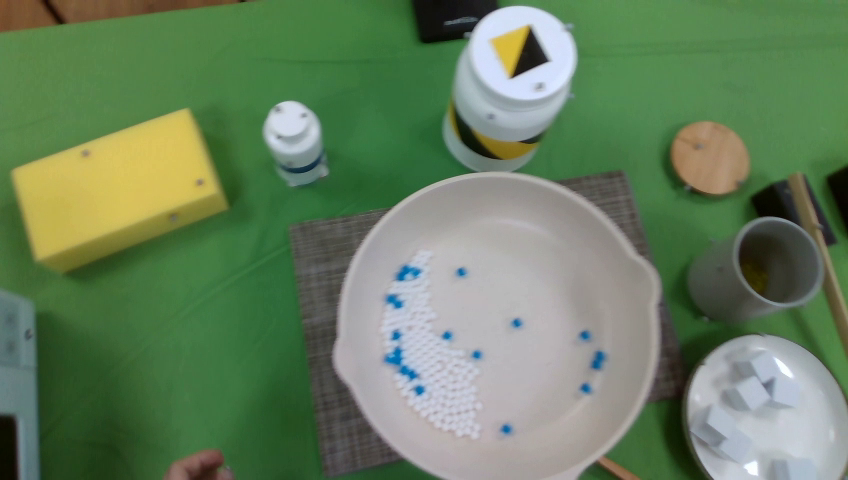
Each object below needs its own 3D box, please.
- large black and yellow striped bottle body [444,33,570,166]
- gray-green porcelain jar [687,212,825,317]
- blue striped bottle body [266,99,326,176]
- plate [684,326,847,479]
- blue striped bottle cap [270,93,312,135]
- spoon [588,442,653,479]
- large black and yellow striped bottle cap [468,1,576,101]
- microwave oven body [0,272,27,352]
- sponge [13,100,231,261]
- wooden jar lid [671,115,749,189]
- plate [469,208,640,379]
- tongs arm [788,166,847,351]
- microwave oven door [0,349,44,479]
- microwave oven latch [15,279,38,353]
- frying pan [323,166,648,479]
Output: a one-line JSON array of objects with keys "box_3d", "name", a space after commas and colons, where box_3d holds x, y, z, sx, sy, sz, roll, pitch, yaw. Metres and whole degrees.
[{"box_3d": [0.098, -0.181, 0.731, 0.131, 0.184, 0.130, 1, 74, -4], "name": "large black and yellow striped bottle body"}, {"box_3d": [0.389, 0.035, 0.729, 0.106, 0.127, 0.105, 1, 74, -5], "name": "gray-green porcelain jar"}, {"box_3d": [-0.152, -0.127, 0.725, 0.063, 0.121, 0.062, 1, 74, -5], "name": "blue striped bottle body"}, {"box_3d": [0.411, 0.209, 0.731, 0.208, 0.039, 0.206, 1, 75, -5], "name": "plate"}, {"box_3d": [-0.149, -0.141, 0.676, 0.044, 0.021, 0.044, 1, 72, -3], "name": "blue striped bottle cap"}, {"box_3d": [0.187, 0.237, 0.708, 0.193, 0.022, 0.041, 31, 59, 2], "name": "spoon"}, {"box_3d": [0.105, -0.204, 0.648, 0.115, 0.019, 0.114, 1, 73, -4], "name": "large black and yellow striped bottle cap"}, {"box_3d": [-0.549, 0.249, 0.511, 0.326, 0.261, 0.439, -9, 76, -8], "name": "microwave oven body"}, {"box_3d": [-0.354, -0.071, 0.722, 0.207, 0.061, 0.117, -23, 78, -11], "name": "sponge"}, {"box_3d": [0.387, -0.118, 0.825, 0.108, 0.021, 0.108, 1, 76, -5], "name": "wooden jar lid"}, {"box_3d": [0.156, 0.064, 0.742, 0.209, 0.038, 0.208, 1, 75, -4], "name": "plate"}, {"box_3d": [0.532, 0.088, 0.745, 0.051, 0.026, 0.384, -15, 87, -10], "name": "tongs arm"}, {"box_3d": [-0.399, 0.265, 0.515, 0.039, 0.244, 0.353, -10, 76, -8], "name": "microwave oven door"}, {"box_3d": [-0.445, 0.084, 0.665, 0.030, 0.029, 0.078, -8, 76, -8], "name": "microwave oven latch"}, {"box_3d": [0.079, 0.169, 0.547, 0.307, 0.103, 0.484, -15, 68, 5], "name": "frying pan"}]
